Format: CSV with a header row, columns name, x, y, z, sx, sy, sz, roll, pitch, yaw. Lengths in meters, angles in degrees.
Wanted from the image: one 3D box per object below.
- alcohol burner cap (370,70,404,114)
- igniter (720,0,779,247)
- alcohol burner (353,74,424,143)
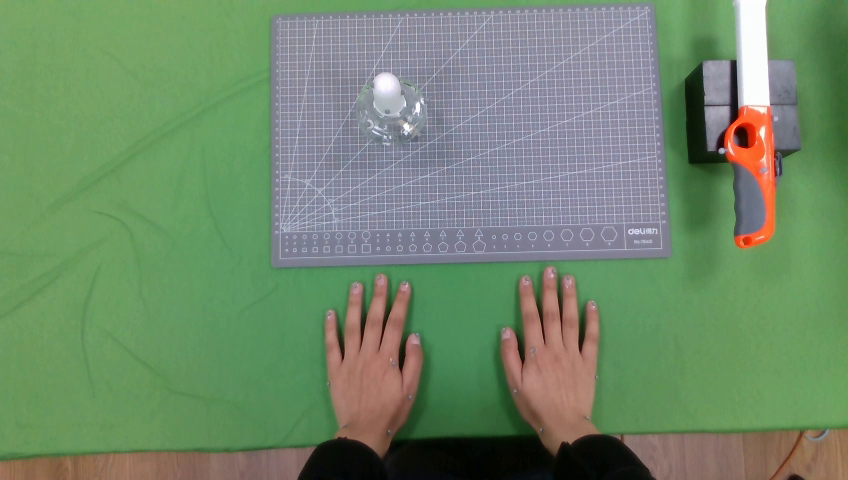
name,x,y,z,sx,sy,sz,roll,pitch,yaw
alcohol burner cap,-0.039,-0.151,0.610,0.034,0.048,0.033,-1,77,3
igniter,0.341,-0.129,0.637,0.057,0.025,0.275,3,82,4
alcohol burner,-0.038,-0.146,0.645,0.078,0.119,0.077,0,82,0
